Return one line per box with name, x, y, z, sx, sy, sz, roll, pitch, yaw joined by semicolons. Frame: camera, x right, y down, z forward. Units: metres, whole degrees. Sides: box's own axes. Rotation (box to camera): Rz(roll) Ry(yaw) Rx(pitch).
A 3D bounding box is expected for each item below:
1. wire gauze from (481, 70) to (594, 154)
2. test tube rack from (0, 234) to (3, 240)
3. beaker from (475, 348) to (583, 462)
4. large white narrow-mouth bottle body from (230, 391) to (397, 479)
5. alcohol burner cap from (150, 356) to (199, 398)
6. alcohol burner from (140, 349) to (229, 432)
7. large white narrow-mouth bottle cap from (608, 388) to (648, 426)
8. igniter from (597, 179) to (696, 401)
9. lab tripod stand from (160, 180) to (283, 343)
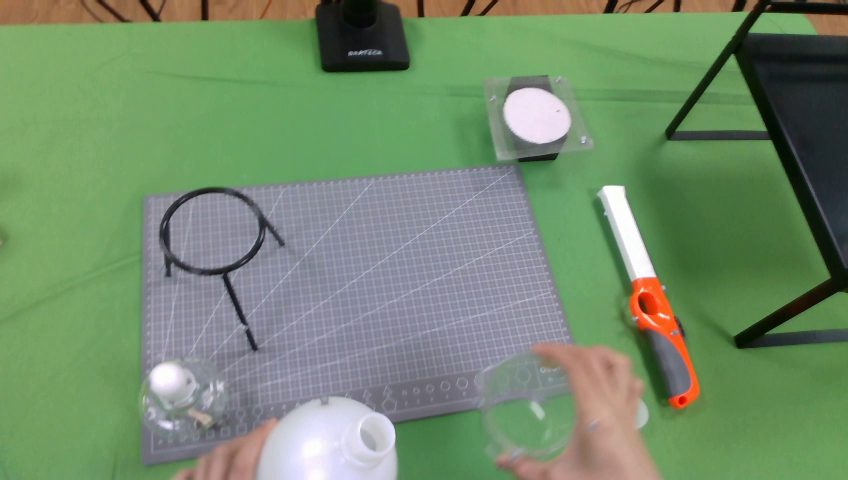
wire gauze;0.139;-0.164;0.754;0.122;0.011;0.124;-5;65;-10
test tube rack;-0.543;0.037;0.564;0.066;0.086;0.242;38;64;11
beaker;0.077;0.136;0.490;0.083;0.101;0.073;25;65;14
large white narrow-mouth bottle body;-0.078;0.173;0.463;0.102;0.195;0.101;19;50;-23
alcohol burner cap;-0.213;0.115;0.513;0.034;0.048;0.033;3;68;-7
alcohol burner;-0.218;0.130;0.545;0.078;0.120;0.077;4;61;-7
large white narrow-mouth bottle cap;0.215;0.177;0.641;0.038;0.024;0.037;3;62;-5
igniter;0.257;0.049;0.707;0.057;0.025;0.274;-1;63;-21
lab tripod stand;-0.193;0.016;0.595;0.149;0.132;0.147;4;63;-8
